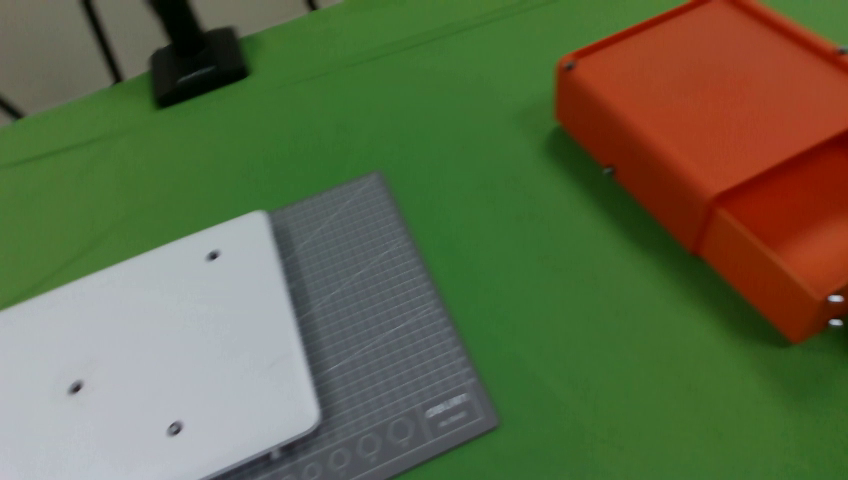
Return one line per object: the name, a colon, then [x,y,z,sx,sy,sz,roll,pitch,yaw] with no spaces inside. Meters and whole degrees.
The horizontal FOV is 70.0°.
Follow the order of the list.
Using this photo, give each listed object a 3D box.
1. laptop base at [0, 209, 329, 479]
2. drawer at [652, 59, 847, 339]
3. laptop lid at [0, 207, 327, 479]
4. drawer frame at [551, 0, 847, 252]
laptop base: [-0.269,0.119,0.500,0.354,0.023,0.233,-23,54,-6]
drawer: [0.299,-0.055,0.477,0.194,0.074,0.209,-28,51,-9]
laptop lid: [-0.271,0.114,0.489,0.357,0.013,0.239,-21,53,-5]
drawer frame: [0.255,-0.118,0.535,0.202,0.083,0.211,-27,50,-9]
